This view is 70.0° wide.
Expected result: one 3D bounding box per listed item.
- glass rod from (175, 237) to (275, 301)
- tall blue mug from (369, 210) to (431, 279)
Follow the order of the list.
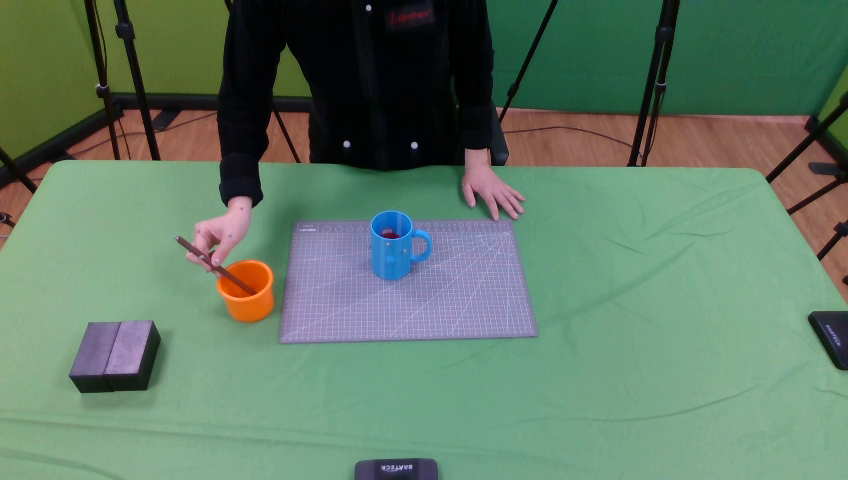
[{"bbox_3d":[-0.327,0.051,1.008,0.008,0.201,0.008,-30,37,27],"label":"glass rod"},{"bbox_3d":[-0.049,0.005,1.125,0.107,0.108,0.077,-19,50,-21],"label":"tall blue mug"}]
